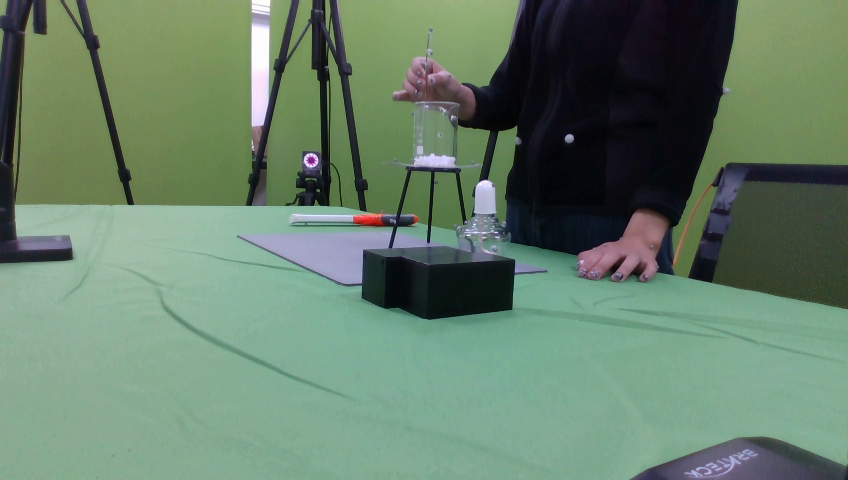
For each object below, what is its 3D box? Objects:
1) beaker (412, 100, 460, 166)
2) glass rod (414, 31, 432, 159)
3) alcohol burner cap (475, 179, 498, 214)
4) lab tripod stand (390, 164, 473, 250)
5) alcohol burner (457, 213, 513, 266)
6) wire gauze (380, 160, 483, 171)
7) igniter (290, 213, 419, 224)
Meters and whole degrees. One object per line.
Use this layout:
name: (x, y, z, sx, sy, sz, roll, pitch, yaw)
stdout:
beaker: (0.020, -0.167, 0.953, 0.073, 0.100, 0.084, 5, 9, 26)
glass rod: (-0.002, -0.228, 0.955, 0.008, 0.199, 0.008, 7, 6, 0)
alcohol burner cap: (0.086, -0.061, 0.833, 0.034, 0.048, 0.034, -1, 11, 0)
lab tripod stand: (0.011, -0.054, 0.960, 0.148, 0.131, 0.148, 2, 9, 0)
alcohol burner: (0.084, -0.025, 0.837, 0.078, 0.119, 0.078, 0, 8, 0)
wire gauze: (0.011, -0.119, 0.951, 0.122, 0.011, 0.124, -5, 12, -32)
igniter: (-0.143, -0.046, 1.288, 0.278, 0.025, 0.057, -1, -3, -24)
